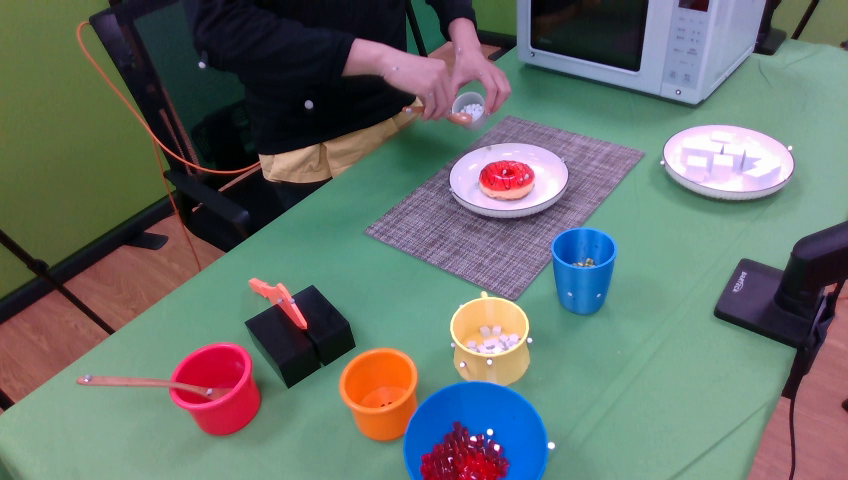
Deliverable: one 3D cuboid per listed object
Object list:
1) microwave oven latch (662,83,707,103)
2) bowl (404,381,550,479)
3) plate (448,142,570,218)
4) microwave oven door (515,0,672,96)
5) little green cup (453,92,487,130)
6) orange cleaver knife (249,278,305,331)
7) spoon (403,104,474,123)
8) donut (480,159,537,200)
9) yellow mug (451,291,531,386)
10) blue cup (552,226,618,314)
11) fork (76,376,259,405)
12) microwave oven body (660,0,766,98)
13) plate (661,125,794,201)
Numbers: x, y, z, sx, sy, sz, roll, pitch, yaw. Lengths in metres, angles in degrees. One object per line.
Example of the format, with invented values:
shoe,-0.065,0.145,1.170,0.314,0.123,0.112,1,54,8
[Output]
microwave oven latch,0.517,-0.296,1.204,0.078,0.029,0.030,27,52,35
bowl,0.058,0.235,0.645,0.151,0.077,0.150,-4,39,4
plate,0.148,-0.101,1.053,0.209,0.038,0.208,-4,40,4
microwave oven door,0.344,-0.455,1.260,0.353,0.245,0.039,26,51,33
little green cup,0.084,-0.228,1.084,0.061,0.039,0.061,-2,76,9
orange cleaver knife,-0.210,0.088,0.856,0.012,0.077,0.210,-28,15,-25
spoon,0.024,-0.212,0.996,0.041,0.021,0.195,27,17,30
donut,0.146,-0.106,1.042,0.099,0.048,0.098,-5,38,4
yellow mug,0.085,0.120,0.786,0.100,0.064,0.130,-7,39,1
blue cup,0.218,0.047,0.826,0.092,0.100,0.092,-6,40,5
fork,-0.295,0.176,0.716,0.209,0.018,0.028,19,26,-36
microwave oven body,0.472,-0.513,1.317,0.438,0.261,0.327,26,51,34
plate,0.513,-0.128,1.035,0.207,0.039,0.206,-4,40,4
